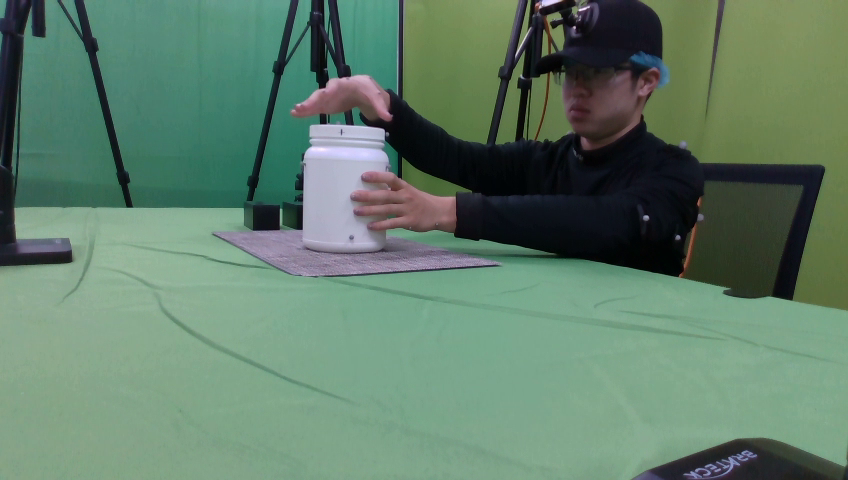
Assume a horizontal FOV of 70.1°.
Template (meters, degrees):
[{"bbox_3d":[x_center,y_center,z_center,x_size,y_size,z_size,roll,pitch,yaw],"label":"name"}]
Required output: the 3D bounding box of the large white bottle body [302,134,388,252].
[{"bbox_3d":[-0.122,-0.080,0.937,0.131,0.184,0.130,2,7,0],"label":"large white bottle body"}]

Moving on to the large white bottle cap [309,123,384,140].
[{"bbox_3d":[-0.118,-0.166,0.927,0.115,0.018,0.115,2,7,0],"label":"large white bottle cap"}]
